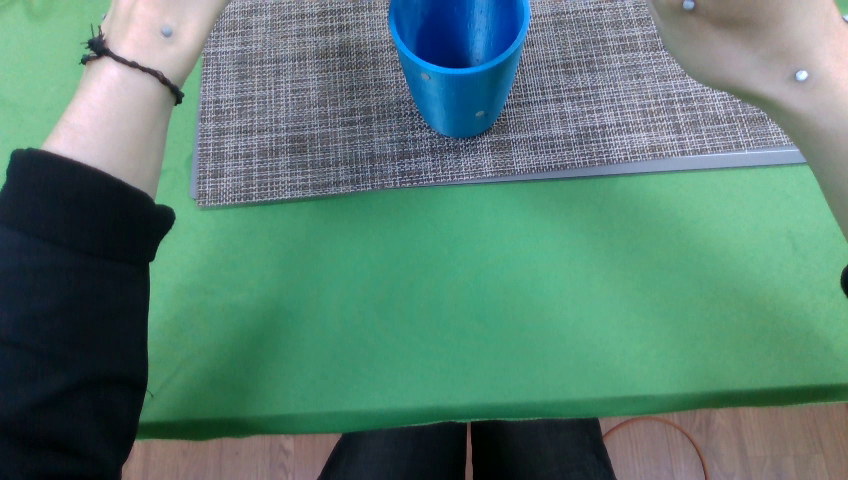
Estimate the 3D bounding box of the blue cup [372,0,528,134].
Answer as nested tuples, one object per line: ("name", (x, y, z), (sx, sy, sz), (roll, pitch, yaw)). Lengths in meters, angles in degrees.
("blue cup", (0.023, -0.121, 0.406), (0.092, 0.101, 0.092), (-1, 71, 4))
